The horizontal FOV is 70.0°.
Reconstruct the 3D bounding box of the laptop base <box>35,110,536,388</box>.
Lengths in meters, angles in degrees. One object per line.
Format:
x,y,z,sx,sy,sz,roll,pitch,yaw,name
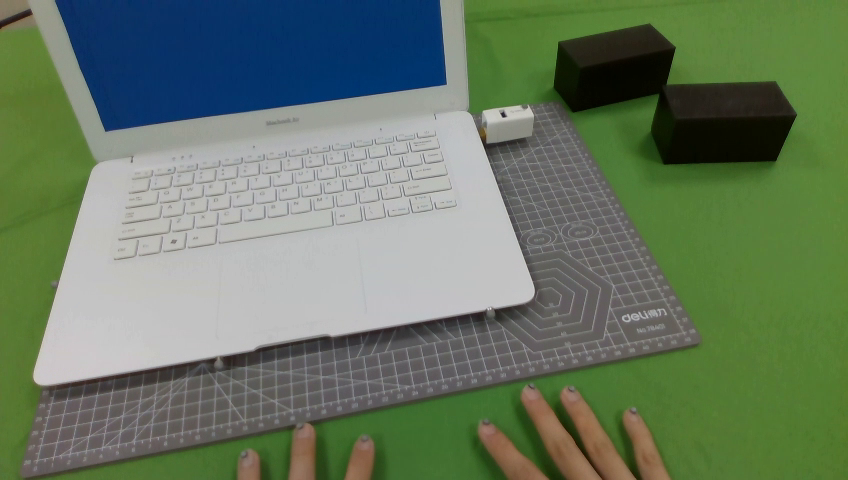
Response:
-0.109,-0.009,0.500,0.355,0.023,0.233,-9,51,-5,laptop base

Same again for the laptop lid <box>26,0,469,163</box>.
-0.140,-0.192,0.514,0.357,0.244,0.013,-11,33,-4,laptop lid

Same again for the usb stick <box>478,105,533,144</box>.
0.070,-0.106,0.561,0.059,0.027,0.021,-12,48,-3,usb stick
